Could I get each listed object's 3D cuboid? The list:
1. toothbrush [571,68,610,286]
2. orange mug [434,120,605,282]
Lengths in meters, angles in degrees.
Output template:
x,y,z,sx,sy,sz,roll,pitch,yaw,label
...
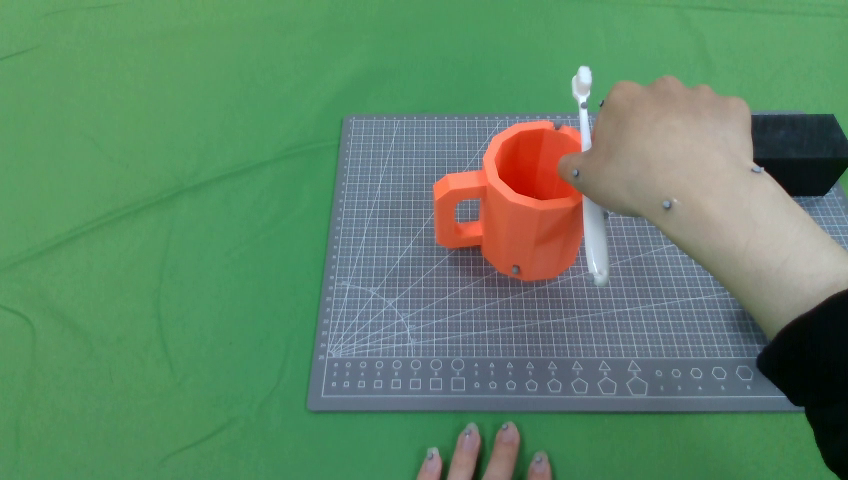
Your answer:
x,y,z,sx,sy,sz,roll,pitch,yaw,label
0.115,-0.051,0.418,0.014,0.017,0.180,6,60,-4,toothbrush
0.070,-0.027,0.469,0.126,0.101,0.082,-5,56,-7,orange mug
